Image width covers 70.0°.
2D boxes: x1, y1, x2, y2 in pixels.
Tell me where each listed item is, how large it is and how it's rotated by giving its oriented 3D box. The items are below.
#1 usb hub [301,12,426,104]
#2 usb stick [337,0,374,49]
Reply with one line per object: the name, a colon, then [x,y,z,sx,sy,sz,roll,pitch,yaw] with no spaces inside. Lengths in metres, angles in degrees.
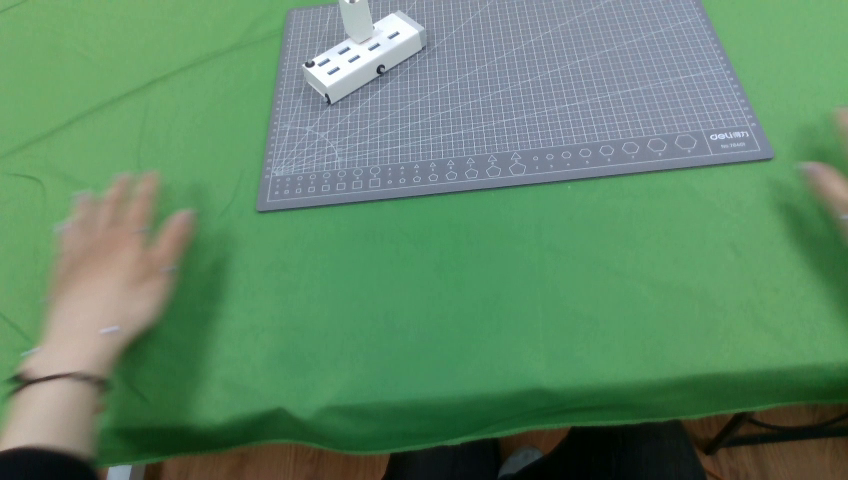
usb hub: [-0.061,-0.191,0.627,0.125,0.025,0.049,-35,58,-16]
usb stick: [-0.068,-0.220,0.613,0.021,0.060,0.027,-37,57,-17]
